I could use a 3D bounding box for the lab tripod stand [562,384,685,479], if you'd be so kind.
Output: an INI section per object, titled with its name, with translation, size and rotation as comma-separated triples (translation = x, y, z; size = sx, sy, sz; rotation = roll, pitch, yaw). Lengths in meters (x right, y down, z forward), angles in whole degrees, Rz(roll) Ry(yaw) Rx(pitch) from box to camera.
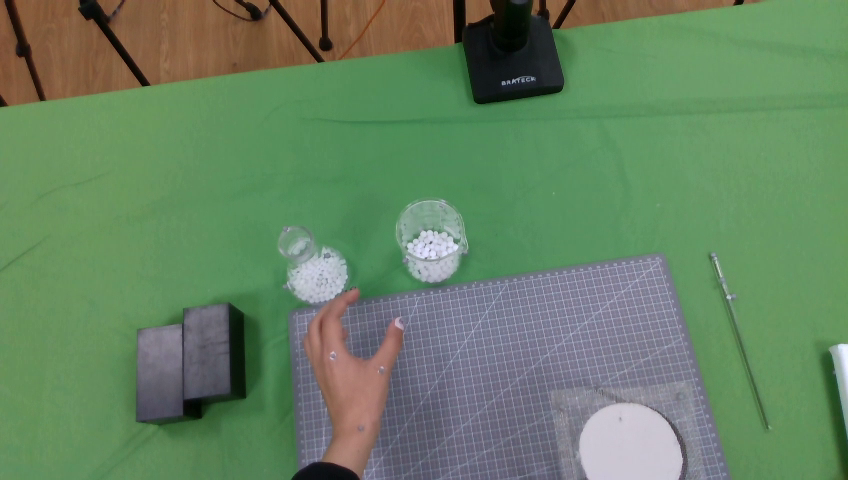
[lab tripod stand]
translation = 0.181, 0.208, 0.584
size = 0.148, 0.132, 0.147
rotation = -1, 72, 2

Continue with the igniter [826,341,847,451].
[igniter]
translation = 0.455, 0.241, 0.622
size = 0.057, 0.025, 0.274
rotation = 6, 70, -7

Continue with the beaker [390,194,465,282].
[beaker]
translation = 0.007, 0.004, 0.685
size = 0.083, 0.101, 0.074
rotation = 26, 73, 10

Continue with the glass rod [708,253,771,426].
[glass rod]
translation = 0.354, 0.107, 0.682
size = 0.008, 0.008, 0.198
rotation = -9, 70, -1

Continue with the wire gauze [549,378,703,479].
[wire gauze]
translation = 0.177, 0.184, 0.521
size = 0.125, 0.011, 0.120
rotation = -4, 72, 2

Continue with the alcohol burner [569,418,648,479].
[alcohol burner]
translation = 0.183, 0.213, 0.593
size = 0.078, 0.120, 0.077
rotation = -1, 70, 4

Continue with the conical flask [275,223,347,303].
[conical flask]
translation = -0.131, 0.021, 0.672
size = 0.075, 0.122, 0.075
rotation = -1, 70, 2

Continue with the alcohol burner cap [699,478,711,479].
[alcohol burner cap]
translation = 0.294, 0.258, 0.610
size = 0.034, 0.048, 0.033
rotation = -1, 70, 3
